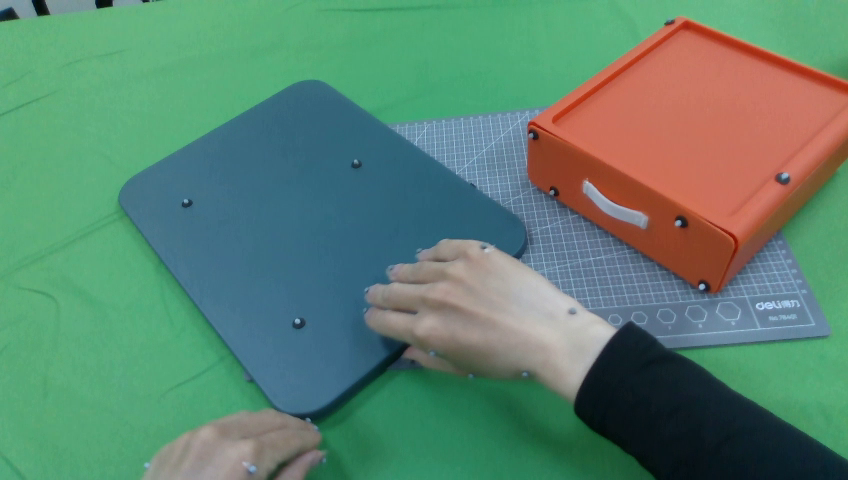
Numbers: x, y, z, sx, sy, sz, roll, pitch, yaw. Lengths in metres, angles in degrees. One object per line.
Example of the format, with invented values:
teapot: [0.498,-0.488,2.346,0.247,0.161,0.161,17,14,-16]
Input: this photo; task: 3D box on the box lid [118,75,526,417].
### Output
box lid: [-0.112,-0.029,0.582,0.263,0.015,0.367,-37,55,-20]

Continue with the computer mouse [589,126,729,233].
computer mouse: [0.205,-0.057,0.528,0.063,0.041,0.116,-35,61,-23]

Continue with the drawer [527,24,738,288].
drawer: [0.231,-0.088,0.532,0.211,0.074,0.192,-37,54,-21]

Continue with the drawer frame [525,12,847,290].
drawer frame: [0.232,-0.091,0.532,0.213,0.083,0.199,-37,55,-21]
